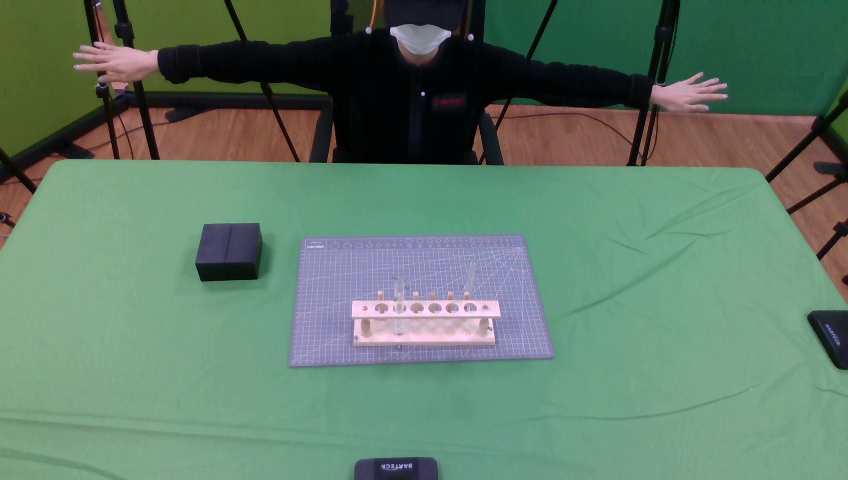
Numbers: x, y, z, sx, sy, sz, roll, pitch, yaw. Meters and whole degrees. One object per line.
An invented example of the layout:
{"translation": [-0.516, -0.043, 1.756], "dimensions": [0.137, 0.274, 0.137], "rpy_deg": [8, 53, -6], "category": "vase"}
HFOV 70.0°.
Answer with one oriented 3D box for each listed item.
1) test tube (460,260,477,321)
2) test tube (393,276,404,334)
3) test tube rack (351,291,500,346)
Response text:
{"translation": [0.073, 0.086, 1.011], "dimensions": [0.017, 0.151, 0.017], "rpy_deg": [2, 46, -2], "category": "test tube"}
{"translation": [-0.041, 0.108, 0.973], "dimensions": [0.017, 0.151, 0.017], "rpy_deg": [2, 50, -2], "category": "test tube"}
{"translation": [0.001, 0.129, 1.026], "dimensions": [0.242, 0.085, 0.066], "rpy_deg": [0, 46, -4], "category": "test tube rack"}
